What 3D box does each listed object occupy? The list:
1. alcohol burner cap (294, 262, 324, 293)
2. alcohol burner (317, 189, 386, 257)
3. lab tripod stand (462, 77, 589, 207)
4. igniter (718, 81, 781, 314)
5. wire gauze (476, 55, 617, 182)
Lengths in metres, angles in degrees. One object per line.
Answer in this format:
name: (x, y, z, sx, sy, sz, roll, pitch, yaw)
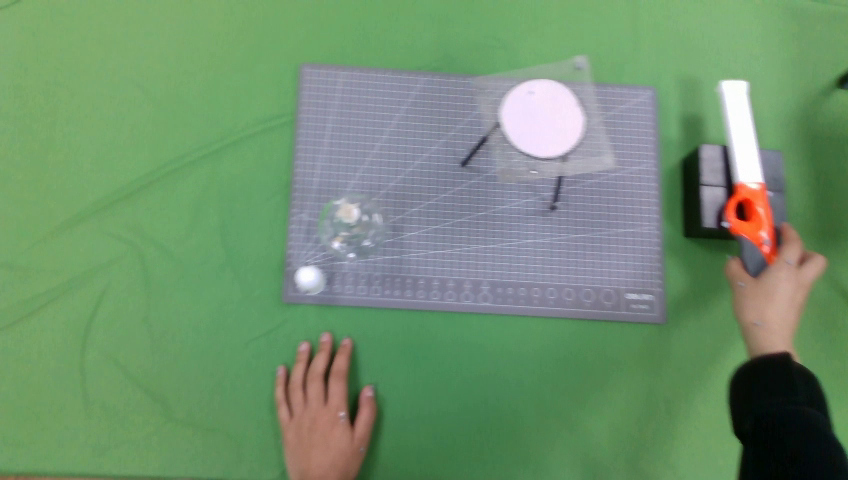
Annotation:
alcohol burner cap: (-0.132, 0.040, 0.682, 0.034, 0.048, 0.033, 1, 79, -4)
alcohol burner: (-0.080, -0.022, 0.660, 0.078, 0.119, 0.077, 1, 80, -4)
lab tripod stand: (0.122, -0.116, 0.680, 0.148, 0.132, 0.147, 1, 77, -2)
igniter: (0.369, -0.053, 0.691, 0.057, 0.025, 0.275, 0, 76, 0)
wire gauze: (0.124, -0.123, 0.613, 0.125, 0.011, 0.121, -10, 79, -5)
